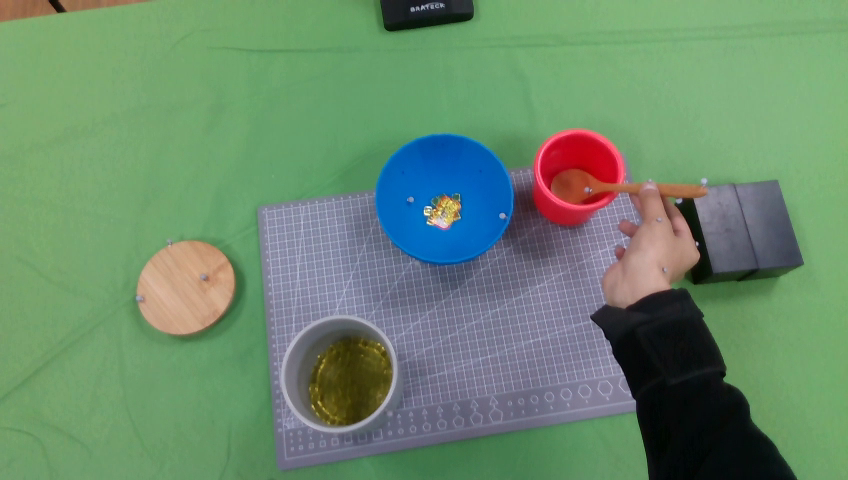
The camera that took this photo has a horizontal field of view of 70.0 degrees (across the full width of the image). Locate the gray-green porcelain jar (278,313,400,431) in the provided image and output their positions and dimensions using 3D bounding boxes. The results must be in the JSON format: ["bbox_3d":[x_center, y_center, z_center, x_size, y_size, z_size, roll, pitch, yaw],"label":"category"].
[{"bbox_3d":[-0.078,0.135,0.603,0.106,0.127,0.105,0,72,0],"label":"gray-green porcelain jar"}]

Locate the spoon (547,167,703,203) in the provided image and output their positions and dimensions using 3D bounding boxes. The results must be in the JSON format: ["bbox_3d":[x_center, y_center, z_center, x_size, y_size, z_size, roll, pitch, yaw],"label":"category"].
[{"bbox_3d":[0.203,-0.056,0.640,0.022,0.192,0.041,15,89,-31],"label":"spoon"}]

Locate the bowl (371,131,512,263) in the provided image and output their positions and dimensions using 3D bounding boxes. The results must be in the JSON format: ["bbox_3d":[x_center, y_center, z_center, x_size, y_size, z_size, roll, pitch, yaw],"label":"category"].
[{"bbox_3d":[0.020,-0.038,0.681,0.151,0.077,0.150,0,72,1],"label":"bowl"}]

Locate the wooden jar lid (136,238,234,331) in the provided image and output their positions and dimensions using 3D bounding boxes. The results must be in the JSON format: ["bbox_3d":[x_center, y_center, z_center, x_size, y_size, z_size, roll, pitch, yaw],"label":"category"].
[{"bbox_3d":[-0.269,0.051,0.688,0.108,0.021,0.107,0,72,1],"label":"wooden jar lid"}]
